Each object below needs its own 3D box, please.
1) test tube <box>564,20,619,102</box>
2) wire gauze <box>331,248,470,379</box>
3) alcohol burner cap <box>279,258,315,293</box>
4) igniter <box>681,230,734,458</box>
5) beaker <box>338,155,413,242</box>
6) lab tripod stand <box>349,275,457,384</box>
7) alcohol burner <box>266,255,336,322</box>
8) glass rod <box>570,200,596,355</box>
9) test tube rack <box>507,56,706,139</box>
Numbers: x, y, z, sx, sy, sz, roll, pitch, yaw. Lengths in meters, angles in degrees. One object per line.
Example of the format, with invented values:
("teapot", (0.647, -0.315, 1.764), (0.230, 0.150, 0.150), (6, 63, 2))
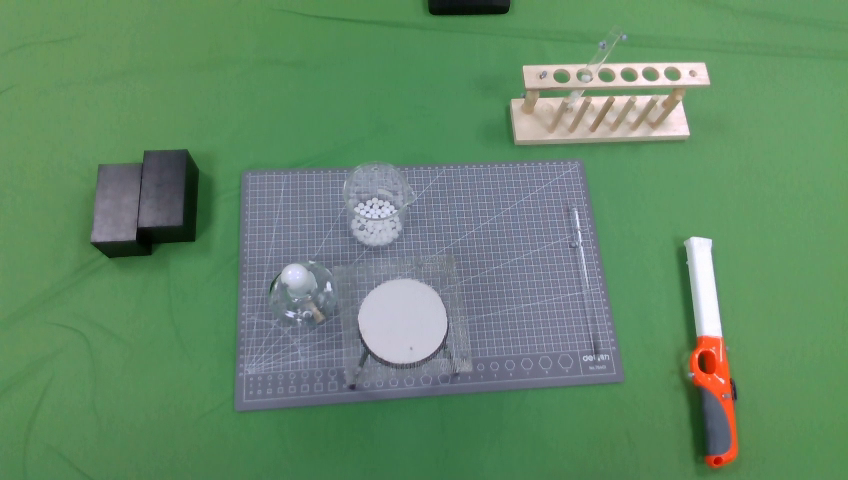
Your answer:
("test tube", (0.205, -0.221, 0.763), (0.017, 0.151, 0.017), (3, 68, -8))
("wire gauze", (-0.024, 0.069, 0.591), (0.125, 0.011, 0.120), (-6, 69, -7))
("alcohol burner cap", (-0.135, 0.036, 0.638), (0.034, 0.048, 0.033), (0, 75, 2))
("igniter", (0.342, 0.119, 0.733), (0.057, 0.025, 0.274), (8, 69, -12))
("beaker", (-0.057, -0.044, 0.720), (0.084, 0.101, 0.073), (5, 70, -3))
("lab tripod stand", (-0.027, 0.096, 0.653), (0.148, 0.132, 0.147), (1, 69, -2))
("alcohol burner", (-0.138, 0.048, 0.672), (0.078, 0.120, 0.077), (1, 67, -3))
("glass rod", (0.198, 0.044, 0.756), (0.008, 0.008, 0.198), (-2, 73, -5))
("test tube rack", (0.241, -0.189, 0.807), (0.243, 0.085, 0.066), (-3, 70, -5))
